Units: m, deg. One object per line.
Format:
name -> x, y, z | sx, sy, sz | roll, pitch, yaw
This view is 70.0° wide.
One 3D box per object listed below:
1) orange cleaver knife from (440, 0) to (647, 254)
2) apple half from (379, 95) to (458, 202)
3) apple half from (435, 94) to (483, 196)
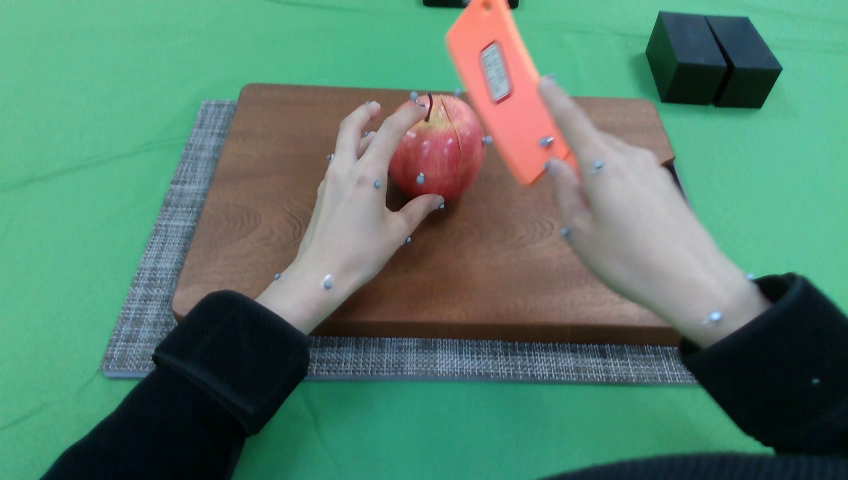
orange cleaver knife -> 0.067, -0.072, 0.391 | 0.012, 0.077, 0.209 | -19, 68, -27
apple half -> -0.008, -0.069, 0.477 | 0.053, 0.075, 0.080 | -12, 54, -9
apple half -> 0.030, -0.076, 0.485 | 0.033, 0.082, 0.080 | -12, 51, -10
